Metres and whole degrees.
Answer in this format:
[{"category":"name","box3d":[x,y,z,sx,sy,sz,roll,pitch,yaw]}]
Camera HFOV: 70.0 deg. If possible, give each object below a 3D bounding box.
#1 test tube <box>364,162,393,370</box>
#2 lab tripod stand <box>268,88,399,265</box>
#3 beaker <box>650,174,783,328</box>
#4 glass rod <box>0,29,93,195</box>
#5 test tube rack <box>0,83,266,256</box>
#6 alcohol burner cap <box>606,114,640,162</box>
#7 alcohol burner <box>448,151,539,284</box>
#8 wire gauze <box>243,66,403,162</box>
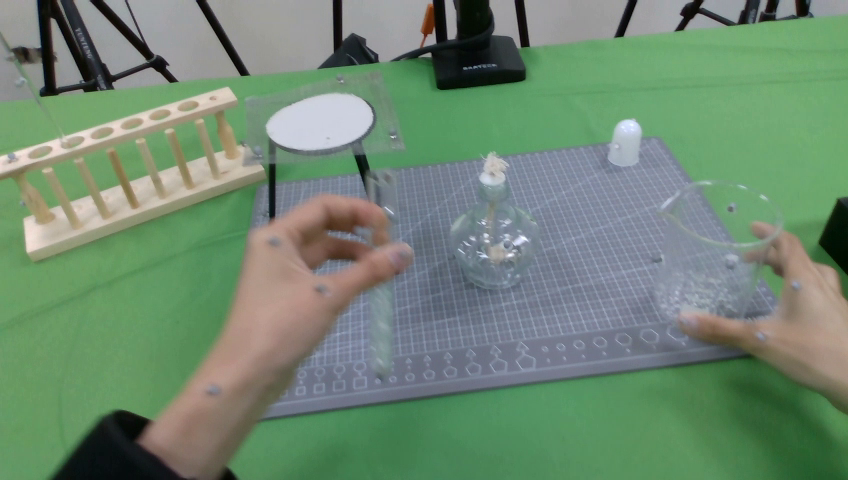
[{"category":"test tube","box3d":[-0.027,0.023,0.365,0.017,0.151,0.017,2,35,-1]},{"category":"lab tripod stand","box3d":[-0.082,-0.054,0.541,0.148,0.133,0.147,-3,44,4]},{"category":"beaker","box3d":[0.214,0.012,0.463,0.083,0.101,0.073,8,44,16]},{"category":"glass rod","box3d":[-0.354,-0.113,0.574,0.008,0.201,0.008,-2,46,3]},{"category":"test tube rack","box3d":[-0.300,-0.078,0.630,0.243,0.086,0.066,-23,45,-19]},{"category":"alcohol burner cap","box3d":[0.211,-0.110,0.639,0.034,0.048,0.033,-3,42,3]},{"category":"alcohol burner","box3d":[0.058,-0.021,0.505,0.078,0.120,0.077,-3,41,3]},{"category":"wire gauze","box3d":[-0.087,-0.104,0.495,0.125,0.011,0.120,-11,43,-5]}]
